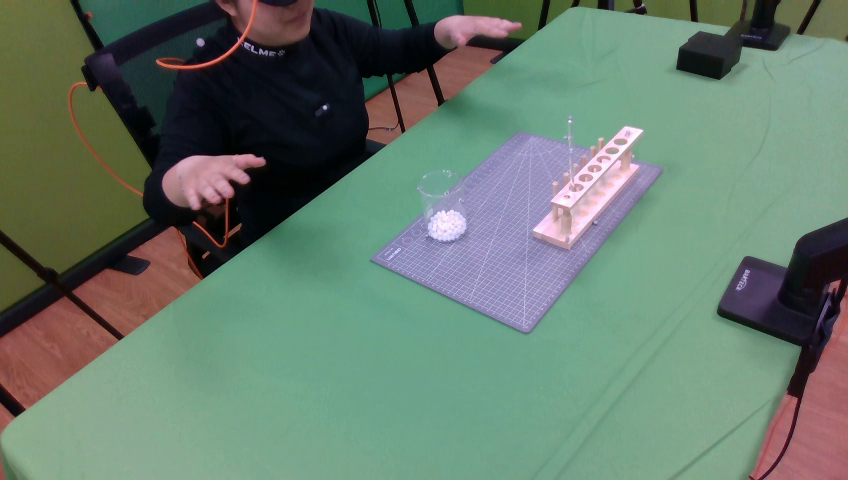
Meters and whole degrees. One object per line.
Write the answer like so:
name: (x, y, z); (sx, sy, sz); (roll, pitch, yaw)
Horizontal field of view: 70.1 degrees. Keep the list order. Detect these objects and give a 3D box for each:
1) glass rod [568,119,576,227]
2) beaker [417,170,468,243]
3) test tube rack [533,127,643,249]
glass rod: (0.219, -0.093, 0.894); (0.008, 0.201, 0.008); (-8, 43, 8)
beaker: (0.034, -0.054, 0.976); (0.073, 0.101, 0.084); (9, 42, 20)
test tube rack: (0.271, -0.094, 0.989); (0.066, 0.085, 0.243); (23, 50, 33)
